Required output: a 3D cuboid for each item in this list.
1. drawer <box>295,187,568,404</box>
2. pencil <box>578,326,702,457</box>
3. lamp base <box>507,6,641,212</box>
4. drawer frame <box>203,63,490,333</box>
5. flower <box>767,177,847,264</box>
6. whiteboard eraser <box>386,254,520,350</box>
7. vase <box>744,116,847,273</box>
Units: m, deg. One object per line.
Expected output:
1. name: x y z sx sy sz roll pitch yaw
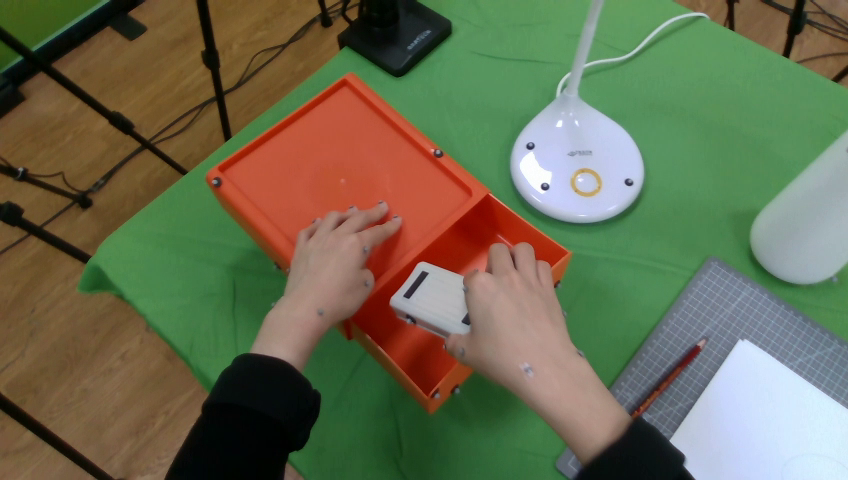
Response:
1. drawer: -0.002 0.018 0.600 0.210 0.074 0.194 40 71 21
2. pencil: 0.222 0.149 0.610 0.194 0.012 0.012 -38 67 -18
3. lamp base: 0.175 -0.150 0.673 0.161 0.182 0.177 -14 60 -6
4. drawer frame: -0.078 -0.048 0.633 0.201 0.083 0.212 -42 73 -17
5. flower: 0.415 -0.093 0.533 0.038 0.364 0.044 25 48 7
6. whiteboard eraser: 0.024 0.053 0.520 0.111 0.042 0.055 19 56 42
7. vase: 0.401 -0.046 0.602 0.098 0.201 0.097 -1 61 3
